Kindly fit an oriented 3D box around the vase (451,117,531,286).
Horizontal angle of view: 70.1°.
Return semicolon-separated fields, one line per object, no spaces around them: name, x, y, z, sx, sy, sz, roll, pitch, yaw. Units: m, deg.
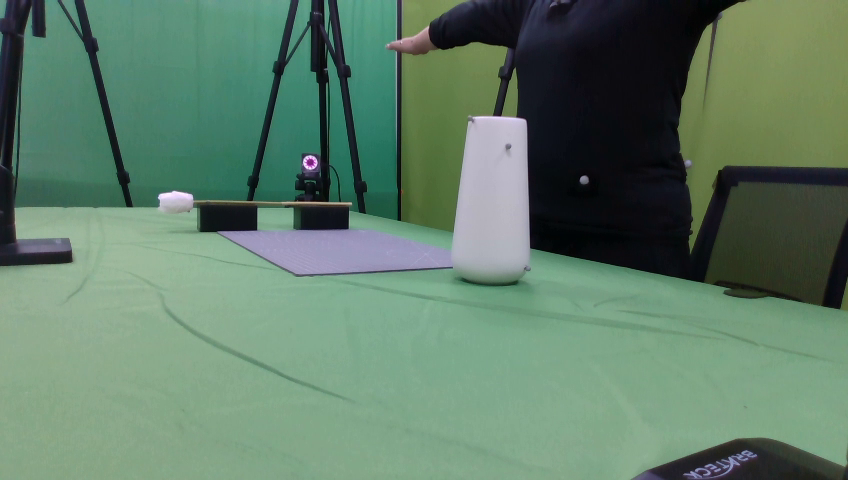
vase;0.083;-0.047;0.737;0.098;0.200;0.098;1;6;0

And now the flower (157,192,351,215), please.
flower;-0.314;-0.076;1.160;0.363;0.038;0.044;-4;-21;-24
